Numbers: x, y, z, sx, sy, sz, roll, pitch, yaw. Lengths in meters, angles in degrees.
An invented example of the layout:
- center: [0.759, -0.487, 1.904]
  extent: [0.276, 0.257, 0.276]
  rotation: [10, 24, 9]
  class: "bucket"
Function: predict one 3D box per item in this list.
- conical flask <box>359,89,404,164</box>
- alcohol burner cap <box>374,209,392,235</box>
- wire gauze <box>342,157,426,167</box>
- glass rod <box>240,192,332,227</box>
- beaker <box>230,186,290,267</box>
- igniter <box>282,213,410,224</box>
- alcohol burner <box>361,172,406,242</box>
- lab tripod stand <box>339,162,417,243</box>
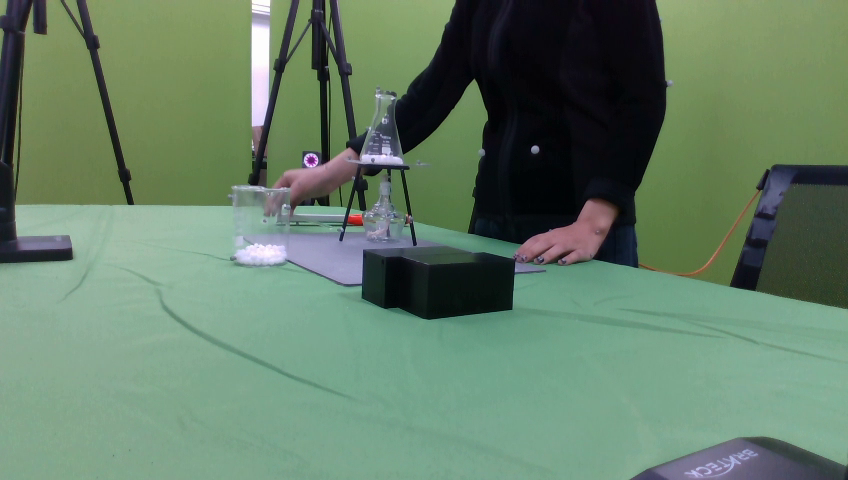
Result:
- center: [-0.068, -0.189, 1.011]
  extent: [0.075, 0.122, 0.075]
  rotation: [4, 6, 0]
  class: "conical flask"
- center: [-0.077, -0.036, 1.148]
  extent: [0.034, 0.048, 0.034]
  rotation: [3, 9, 0]
  class: "alcohol burner cap"
- center: [-0.065, -0.130, 1.016]
  extent: [0.122, 0.011, 0.124]
  rotation: [2, 5, -27]
  class: "wire gauze"
- center: [-0.256, -0.057, 1.142]
  extent: [0.201, 0.008, 0.008]
  rotation: [21, -7, -40]
  class: "glass rod"
- center: [-0.209, -0.019, 0.778]
  extent: [0.074, 0.100, 0.084]
  rotation: [3, 6, 4]
  class: "beaker"
- center: [-0.159, -0.046, 1.287]
  extent: [0.278, 0.025, 0.057]
  rotation: [-1, -2, -22]
  class: "igniter"
- center: [-0.067, -0.056, 1.030]
  extent: [0.078, 0.119, 0.078]
  rotation: [4, 9, 0]
  class: "alcohol burner"
- center: [-0.067, -0.065, 1.027]
  extent: [0.148, 0.131, 0.148]
  rotation: [4, 7, 0]
  class: "lab tripod stand"
